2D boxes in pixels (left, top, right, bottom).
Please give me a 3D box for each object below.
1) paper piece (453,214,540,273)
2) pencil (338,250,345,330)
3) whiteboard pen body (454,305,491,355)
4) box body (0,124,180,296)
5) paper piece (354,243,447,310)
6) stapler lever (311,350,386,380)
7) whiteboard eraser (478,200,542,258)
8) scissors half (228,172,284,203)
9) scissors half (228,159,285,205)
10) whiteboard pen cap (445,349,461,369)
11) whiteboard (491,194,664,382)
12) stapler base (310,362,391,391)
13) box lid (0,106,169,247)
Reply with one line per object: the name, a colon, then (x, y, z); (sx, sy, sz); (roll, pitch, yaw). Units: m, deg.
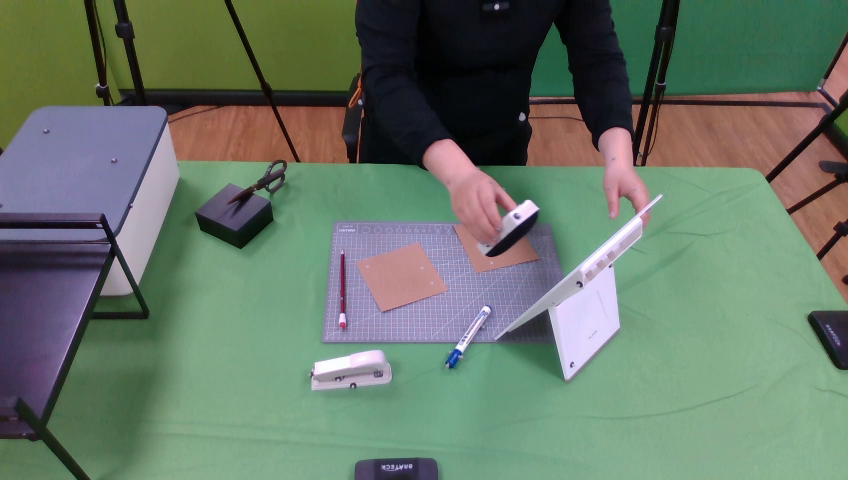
paper piece: (0.142, 0.003, 1.212); (0.135, 0.004, 0.135); (-12, 48, -14)
pencil: (-0.152, 0.085, 1.107); (0.012, 0.012, 0.192); (-3, 44, -7)
whiteboard pen body: (0.079, 0.163, 1.047); (0.017, 0.017, 0.140); (25, 50, 19)
box body: (-0.628, -0.075, 1.122); (0.254, 0.161, 0.361); (1, 46, -4)
paper piece: (-0.045, 0.066, 1.137); (0.136, 0.009, 0.137); (-13, 46, -23)
stapler lever: (-0.120, 0.198, 0.962); (0.118, 0.040, 0.026); (-5, 44, -8)
whiteboard eraser: (0.131, -0.012, 0.914); (0.055, 0.113, 0.042); (-30, 79, -34)
scissors half: (-0.339, -0.101, 1.229); (0.013, 0.040, 0.175); (23, 28, 15)
scissors half: (-0.335, -0.116, 1.217); (0.013, 0.040, 0.175); (27, 46, 11)
whiteboard pen cap: (0.049, 0.197, 1.011); (0.018, 0.018, 0.033); (23, 49, 17)
whiteboard: (0.280, 0.100, 0.969); (0.217, 0.306, 0.143); (-33, 77, -31)
stapler base: (-0.119, 0.215, 0.980); (0.131, 0.024, 0.041); (-5, 45, -7)
box lid: (-0.624, -0.125, 1.067); (0.263, 0.015, 0.369); (0, 46, -3)
